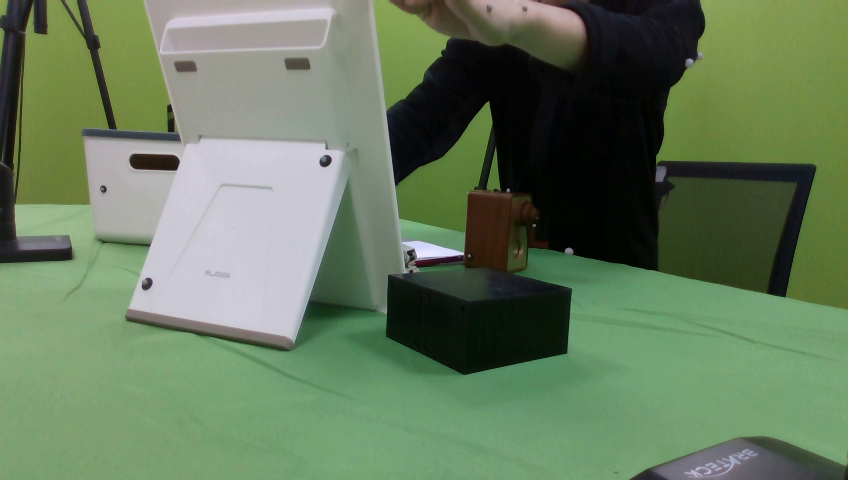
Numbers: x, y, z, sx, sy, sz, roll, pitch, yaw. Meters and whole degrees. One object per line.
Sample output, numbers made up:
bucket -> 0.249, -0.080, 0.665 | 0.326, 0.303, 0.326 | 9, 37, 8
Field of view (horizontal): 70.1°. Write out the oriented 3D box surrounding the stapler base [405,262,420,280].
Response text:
stapler base -> -0.069, 0.027, 0.759 | 0.130, 0.024, 0.041 | 10, 14, 23

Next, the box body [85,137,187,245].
box body -> -0.340, -0.088, 1.022 | 0.254, 0.160, 0.364 | 4, 7, 11

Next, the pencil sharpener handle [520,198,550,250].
pencil sharpener handle -> 0.147, -0.019, 0.784 | 0.030, 0.068, 0.036 | 8, 24, 36

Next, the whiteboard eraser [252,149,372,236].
whiteboard eraser -> -0.107, -0.041, 0.560 | 0.112, 0.055, 0.042 | -16, 20, 32

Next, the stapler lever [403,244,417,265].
stapler lever -> -0.066, 0.003, 0.754 | 0.117, 0.040, 0.027 | 9, 14, 23

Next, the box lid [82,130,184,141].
box lid -> -0.337, -0.161, 1.011 | 0.263, 0.015, 0.372 | 4, 7, 11

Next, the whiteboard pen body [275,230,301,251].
whiteboard pen body -> -0.203, 0.002, 0.894 | 0.017, 0.017, 0.140 | 2, 9, -1

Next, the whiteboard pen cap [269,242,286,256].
whiteboard pen cap -> -0.202, 0.012, 0.836 | 0.018, 0.018, 0.033 | 2, 8, -1

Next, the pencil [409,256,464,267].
pencil -> 0.041, 0.028, 0.849 | 0.012, 0.012, 0.195 | 10, 10, 44

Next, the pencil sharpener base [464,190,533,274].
pencil sharpener base -> 0.103, -0.012, 0.813 | 0.076, 0.107, 0.061 | 8, 9, 36

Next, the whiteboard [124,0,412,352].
whiteboard -> -0.151, -0.049, 0.471 | 0.216, 0.305, 0.144 | 6, 27, 24
